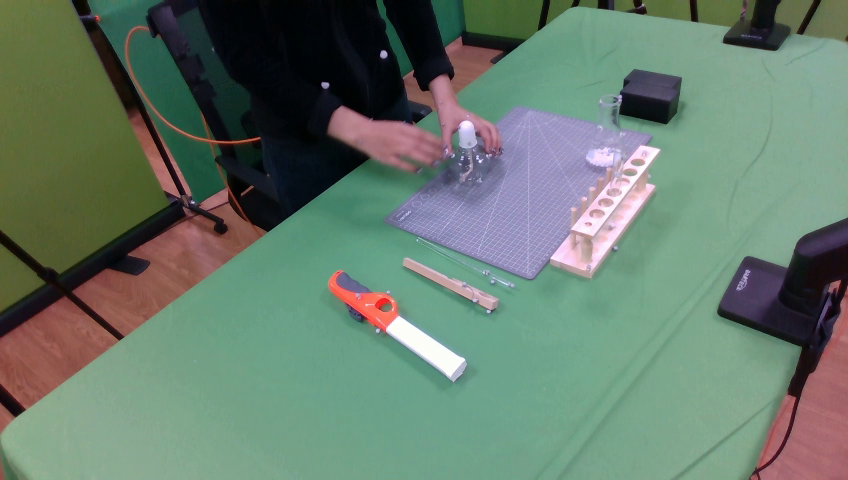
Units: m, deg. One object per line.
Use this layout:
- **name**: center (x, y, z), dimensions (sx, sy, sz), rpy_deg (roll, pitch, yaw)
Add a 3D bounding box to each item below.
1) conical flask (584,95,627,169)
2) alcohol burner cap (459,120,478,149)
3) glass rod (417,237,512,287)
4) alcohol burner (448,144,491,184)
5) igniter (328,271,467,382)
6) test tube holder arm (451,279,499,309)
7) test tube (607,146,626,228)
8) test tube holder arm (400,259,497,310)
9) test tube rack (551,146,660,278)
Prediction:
- **conical flask**: center (0.323, -0.192, 1.066), dimensions (0.075, 0.122, 0.075), rpy_deg (-6, 40, 5)
- **alcohol burner cap**: center (0.076, -0.187, 1.058), dimensions (0.034, 0.048, 0.033), rpy_deg (-6, 46, 6)
- **glass rod**: center (0.059, 0.032, 0.945), dimensions (0.198, 0.008, 0.008), rpy_deg (26, 52, 38)
- **alcohol burner**: center (0.081, -0.160, 1.083), dimensions (0.078, 0.119, 0.077), rpy_deg (-4, 39, 4)
- **igniter**: center (-0.049, 0.114, 0.854), dimensions (0.274, 0.025, 0.057), rpy_deg (30, 63, 37)
- **test tube holder arm**: center (0.071, 0.079, 0.882), dimensions (0.087, 0.015, 0.010), rpy_deg (23, 14, 34)
- **test tube**: center (0.283, -0.074, 0.892), dimensions (0.017, 0.151, 0.017), rpy_deg (-5, 45, 6)
- **test tube holder arm**: center (0.033, 0.064, 0.902), dimensions (0.177, 0.015, 0.013), rpy_deg (23, 14, 32)
- **test tube rack**: center (0.286, -0.053, 0.943), dimensions (0.066, 0.085, 0.243), rpy_deg (21, 49, 32)
